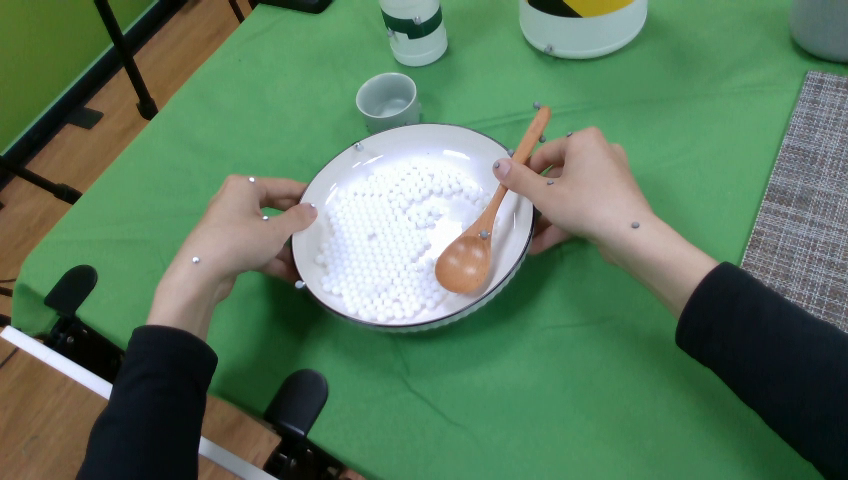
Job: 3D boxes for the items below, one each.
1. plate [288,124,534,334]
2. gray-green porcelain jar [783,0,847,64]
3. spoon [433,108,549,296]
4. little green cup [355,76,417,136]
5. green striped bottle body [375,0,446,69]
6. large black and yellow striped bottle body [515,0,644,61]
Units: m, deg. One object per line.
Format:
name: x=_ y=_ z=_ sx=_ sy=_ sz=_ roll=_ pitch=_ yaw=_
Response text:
plate: x=-0.010 y=-0.011 z=0.516 sx=0.209 sy=0.038 sz=0.207 roll=-6 pitch=56 yaw=9
gray-green porcelain jar: x=0.384 y=-0.229 z=0.528 sx=0.106 sy=0.128 sz=0.105 roll=-6 pitch=56 yaw=9
spoon: x=0.063 y=-0.036 z=0.499 sx=0.041 sy=0.022 sz=0.193 roll=24 pitch=73 yaw=17
little green cup: x=-0.036 y=-0.130 z=0.607 sx=0.061 sy=0.039 sz=0.061 roll=-6 pitch=55 yaw=8
green striped bottle body: x=-0.017 y=-0.243 z=0.628 sx=0.063 sy=0.120 sz=0.062 roll=-6 pitch=56 yaw=9
large black and yellow striped bottle body: x=0.149 y=-0.281 z=0.577 sx=0.130 sy=0.186 sz=0.129 roll=-6 pitch=56 yaw=9
